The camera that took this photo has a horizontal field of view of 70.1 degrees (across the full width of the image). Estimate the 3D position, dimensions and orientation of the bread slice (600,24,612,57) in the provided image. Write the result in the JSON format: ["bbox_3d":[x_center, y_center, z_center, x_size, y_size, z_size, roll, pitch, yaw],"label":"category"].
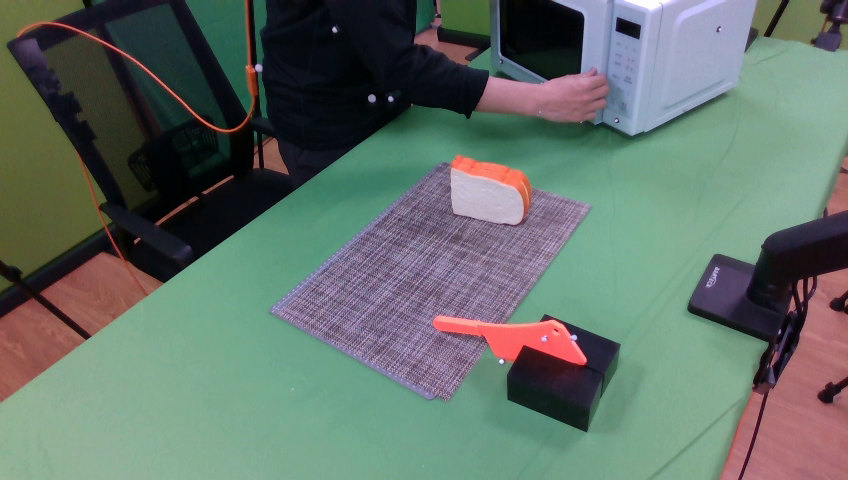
[{"bbox_3d":[0.363,-0.431,1.318,0.107,0.018,0.134,1,49,10],"label":"bread slice"}]

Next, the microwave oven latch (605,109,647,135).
[{"bbox_3d":[0.379,-0.225,1.139,0.030,0.029,0.078,-26,43,-19],"label":"microwave oven latch"}]

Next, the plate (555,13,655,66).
[{"bbox_3d":[0.387,-0.427,1.304,0.207,0.039,0.206,-5,44,5],"label":"plate"}]

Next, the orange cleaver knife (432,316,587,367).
[{"bbox_3d":[0.101,0.127,0.761,0.210,0.077,0.012,-1,34,40],"label":"orange cleaver knife"}]

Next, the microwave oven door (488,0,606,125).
[{"bbox_3d":[0.243,-0.409,1.216,0.039,0.245,0.352,-25,43,-19],"label":"microwave oven door"}]

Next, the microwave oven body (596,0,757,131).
[{"bbox_3d":[0.396,-0.448,1.248,0.327,0.261,0.437,-27,44,-21],"label":"microwave oven body"}]
